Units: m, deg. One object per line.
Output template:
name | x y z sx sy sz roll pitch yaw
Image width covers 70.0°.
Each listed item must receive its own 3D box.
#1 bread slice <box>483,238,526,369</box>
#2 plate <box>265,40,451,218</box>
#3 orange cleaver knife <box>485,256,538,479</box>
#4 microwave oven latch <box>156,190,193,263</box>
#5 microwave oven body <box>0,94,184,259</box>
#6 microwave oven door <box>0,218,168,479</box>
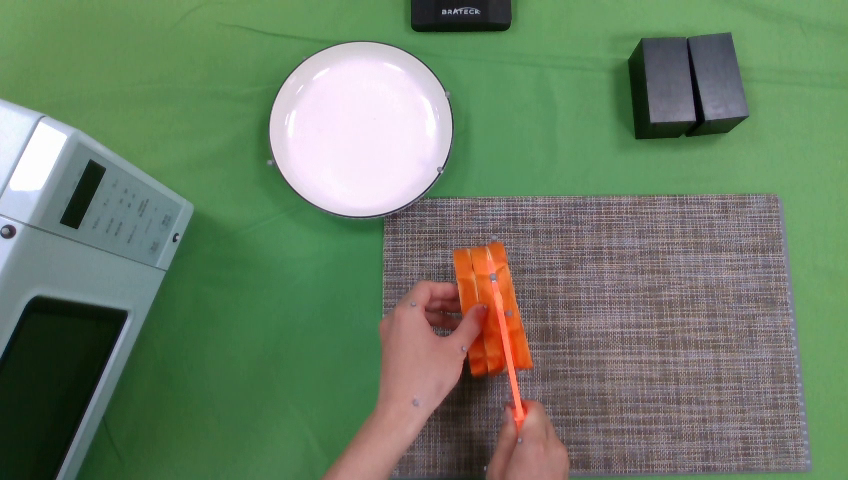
bread slice | 0.080 0.066 0.619 0.018 0.107 0.133 -9 79 0
plate | -0.072 -0.123 0.689 0.208 0.039 0.207 0 80 0
orange cleaver knife | 0.079 0.120 0.555 0.012 0.077 0.212 -12 105 4
microwave oven latch | -0.278 -0.017 0.653 0.030 0.029 0.079 22 82 3
microwave oven body | -0.479 0.079 0.538 0.326 0.261 0.440 20 81 3
microwave oven door | -0.356 0.166 0.518 0.039 0.244 0.355 20 81 4
